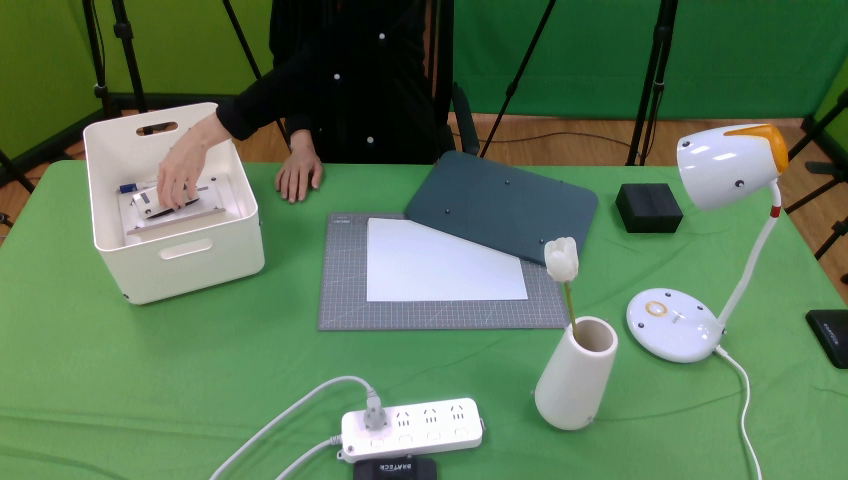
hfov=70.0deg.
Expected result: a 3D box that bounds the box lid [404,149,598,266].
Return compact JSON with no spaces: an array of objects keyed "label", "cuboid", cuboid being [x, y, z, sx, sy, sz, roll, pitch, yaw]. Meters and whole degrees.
[{"label":"box lid","cuboid":[0.171,-0.073,1.289,0.371,0.015,0.262,19,47,14]}]

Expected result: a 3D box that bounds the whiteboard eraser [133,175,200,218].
[{"label":"whiteboard eraser","cuboid":[-0.499,-0.082,1.177,0.113,0.042,0.055,-26,60,-25]}]

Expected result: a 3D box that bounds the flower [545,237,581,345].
[{"label":"flower","cuboid":[0.213,0.137,0.846,0.038,0.364,0.044,21,55,40]}]

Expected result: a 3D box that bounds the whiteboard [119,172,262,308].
[{"label":"whiteboard","cuboid":[-0.464,-0.059,1.137,0.217,0.144,0.303,-19,51,-17]}]

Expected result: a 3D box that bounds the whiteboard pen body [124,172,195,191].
[{"label":"whiteboard pen body","cuboid":[-0.553,-0.120,1.268,0.141,0.017,0.017,-17,50,-18]}]

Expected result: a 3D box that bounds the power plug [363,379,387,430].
[{"label":"power plug","cuboid":[-0.071,0.252,0.911,0.035,0.053,0.072,3,40,0]}]

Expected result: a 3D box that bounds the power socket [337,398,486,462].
[{"label":"power socket","cuboid":[-0.018,0.285,0.914,0.227,0.033,0.071,-4,46,-8]}]

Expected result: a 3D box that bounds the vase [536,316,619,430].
[{"label":"vase","cuboid":[0.229,0.200,0.901,0.098,0.201,0.097,3,46,-3]}]

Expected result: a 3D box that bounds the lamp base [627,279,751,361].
[{"label":"lamp base","cuboid":[0.460,0.100,1.027,0.178,0.181,0.160,27,51,17]}]

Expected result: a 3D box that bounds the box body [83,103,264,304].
[{"label":"box body","cuboid":[-0.465,-0.076,1.137,0.254,0.161,0.361,-16,49,-19]}]

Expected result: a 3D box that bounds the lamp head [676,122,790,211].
[{"label":"lamp head","cuboid":[0.423,-0.104,0.819,0.122,0.113,0.112,-13,33,40]}]

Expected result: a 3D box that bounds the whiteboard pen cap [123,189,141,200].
[{"label":"whiteboard pen cap","cuboid":[-0.592,-0.092,1.233,0.033,0.018,0.018,-14,49,-17]}]
